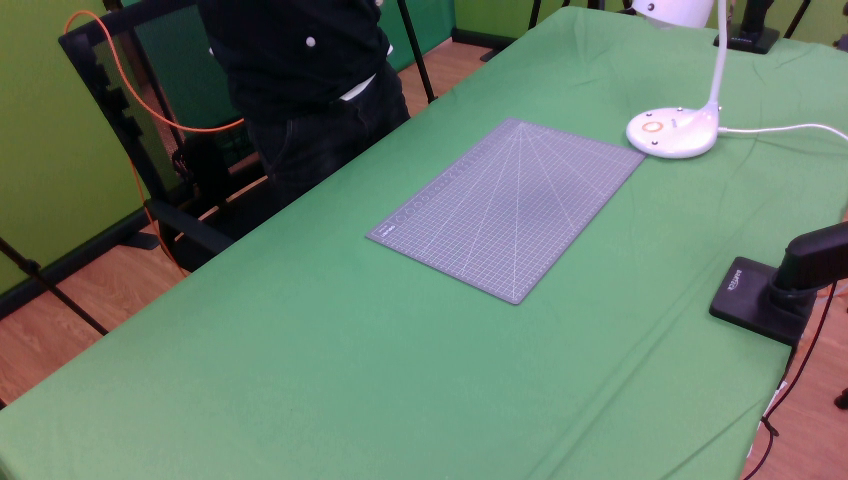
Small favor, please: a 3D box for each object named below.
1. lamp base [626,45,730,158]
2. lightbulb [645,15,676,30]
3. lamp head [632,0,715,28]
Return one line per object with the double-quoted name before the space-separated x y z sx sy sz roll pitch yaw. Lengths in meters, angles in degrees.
"lamp base" 0.467 -0.262 1.086 0.179 0.181 0.159 -4 41 -1
"lightbulb" 0.364 -0.362 0.883 0.060 0.108 0.059 9 40 -7
"lamp head" 0.376 -0.379 0.868 0.113 0.123 0.112 13 31 -7
